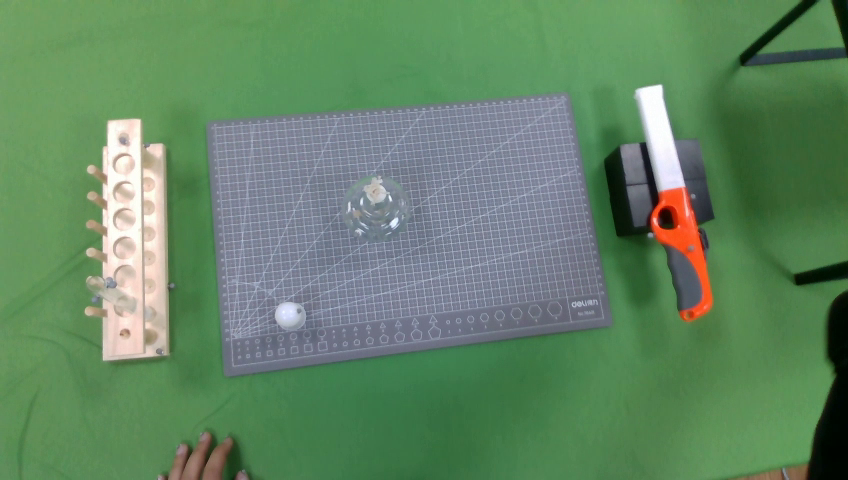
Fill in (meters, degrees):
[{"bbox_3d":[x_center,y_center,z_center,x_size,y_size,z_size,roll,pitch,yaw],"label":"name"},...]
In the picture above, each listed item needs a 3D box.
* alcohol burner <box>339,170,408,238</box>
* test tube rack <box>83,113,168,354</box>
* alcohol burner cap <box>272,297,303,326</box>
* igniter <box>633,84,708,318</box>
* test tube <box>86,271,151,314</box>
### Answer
[{"bbox_3d":[-0.055,-0.043,0.664,0.078,0.119,0.077,1,80,-5],"label":"alcohol burner"},{"bbox_3d":[-0.320,-0.004,0.644,0.067,0.085,0.241,-4,80,-7],"label":"test tube rack"},{"bbox_3d":[-0.152,0.077,0.666,0.034,0.048,0.033,2,79,-7],"label":"alcohol burner cap"},{"bbox_3d":[0.284,-0.048,0.701,0.057,0.025,0.275,-8,79,4],"label":"igniter"},{"bbox_3d":[-0.291,0.053,0.585,0.017,0.150,0.017,2,73,-8],"label":"test tube"}]
